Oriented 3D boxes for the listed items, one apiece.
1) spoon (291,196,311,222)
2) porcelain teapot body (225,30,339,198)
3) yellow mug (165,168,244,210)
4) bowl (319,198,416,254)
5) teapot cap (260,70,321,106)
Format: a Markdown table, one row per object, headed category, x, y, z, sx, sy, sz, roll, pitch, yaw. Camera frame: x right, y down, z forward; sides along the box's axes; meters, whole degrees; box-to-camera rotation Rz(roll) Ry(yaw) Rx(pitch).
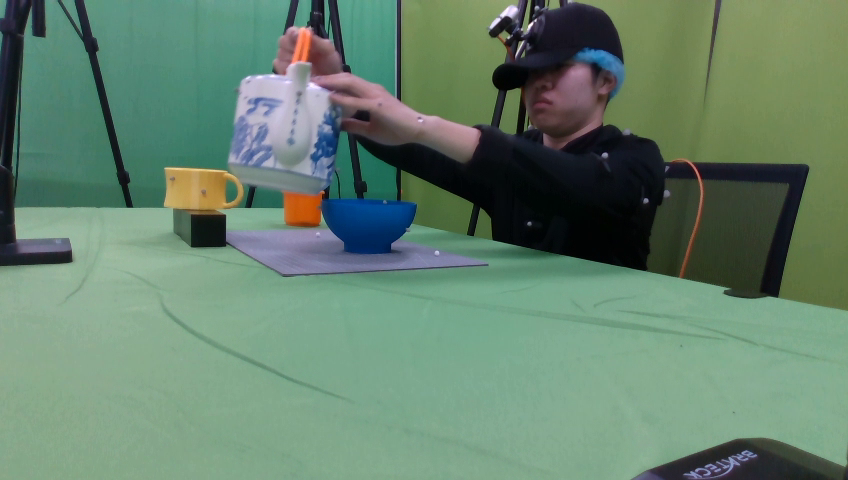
| category | x | y | z | sx | sy | sz | roll | pitch | yaw |
| --- | --- | --- | --- | --- | --- | --- | --- | --- | --- |
| spoon | -0.285 | -0.111 | 1.320 | 0.042 | 0.193 | 0.021 | -3 | -36 | -31 |
| porcelain teapot body | -0.185 | -0.177 | 0.833 | 0.146 | 0.225 | 0.204 | 9 | 1 | -20 |
| yellow mug | -0.370 | -0.086 | 1.027 | 0.131 | 0.064 | 0.100 | 5 | 7 | 4 |
| bowl | -0.088 | -0.022 | 0.941 | 0.151 | 0.077 | 0.151 | 2 | 7 | 0 |
| teapot cap | -0.188 | -0.217 | 0.858 | 0.085 | 0.044 | 0.085 | 10 | 2 | 0 |
